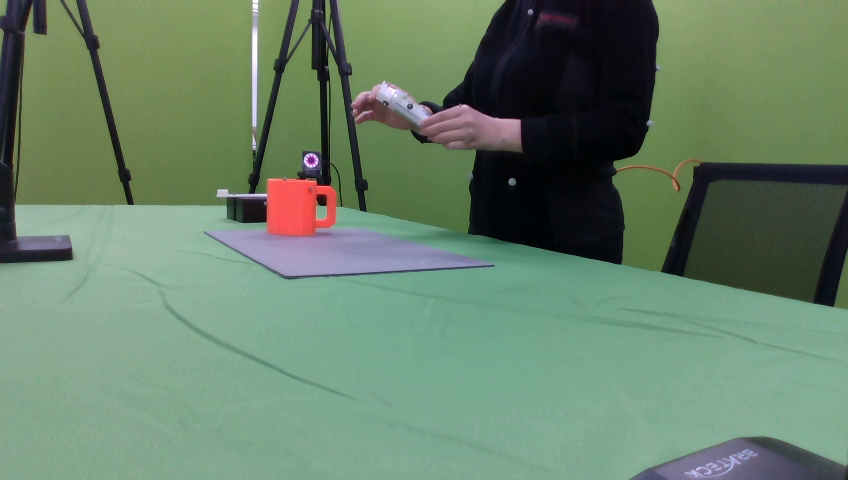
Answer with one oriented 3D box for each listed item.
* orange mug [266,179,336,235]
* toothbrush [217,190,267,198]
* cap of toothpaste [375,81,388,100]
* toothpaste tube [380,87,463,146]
[{"bbox_3d":[-0.222,-0.062,1.094,0.127,0.101,0.083,-5,10,-22],"label":"orange mug"},{"bbox_3d":[-0.344,-0.096,1.282,0.183,0.016,0.014,-1,5,-27],"label":"toothbrush"},{"bbox_3d":[-0.072,-0.256,1.037,0.011,0.037,0.037,26,4,-7],"label":"cap of toothpaste"},{"bbox_3d":[-0.005,-0.211,1.036,0.165,0.034,0.055,33,24,-1],"label":"toothpaste tube"}]
